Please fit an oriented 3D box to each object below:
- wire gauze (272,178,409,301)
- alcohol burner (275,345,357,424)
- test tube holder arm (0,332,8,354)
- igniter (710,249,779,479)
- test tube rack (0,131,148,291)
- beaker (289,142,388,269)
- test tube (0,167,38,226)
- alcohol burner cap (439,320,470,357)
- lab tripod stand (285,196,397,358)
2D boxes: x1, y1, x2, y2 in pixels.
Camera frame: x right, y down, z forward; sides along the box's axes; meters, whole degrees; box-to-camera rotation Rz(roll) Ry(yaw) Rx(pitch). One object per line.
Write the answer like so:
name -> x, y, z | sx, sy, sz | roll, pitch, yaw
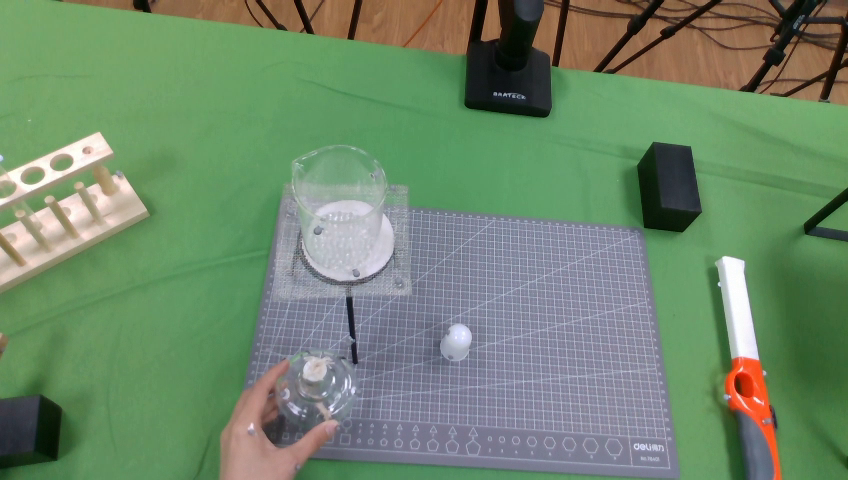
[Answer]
wire gauze -> -0.076, -0.004, 0.561 | 0.121, 0.011, 0.124 | 0, 65, -5
alcohol burner -> -0.102, 0.131, 0.571 | 0.078, 0.120, 0.077 | 4, 60, -6
test tube holder arm -> -0.398, 0.124, 0.542 | 0.010, 0.015, 0.087 | 8, 60, -2
igniter -> 0.354, 0.136, 0.675 | 0.057, 0.025, 0.274 | 12, 61, -12
test tube rack -> -0.428, -0.013, 0.629 | 0.242, 0.086, 0.066 | -33, 70, -22
beaker -> -0.075, -0.026, 0.517 | 0.084, 0.101, 0.073 | 28, 62, 8
test tube -> -0.419, -0.059, 0.599 | 0.017, 0.151, 0.017 | 4, 56, -5
alcohol burner cap -> 0.034, 0.103, 0.644 | 0.034, 0.048, 0.033 | 2, 64, -3
lab tripod stand -> -0.079, 0.031, 0.616 | 0.149, 0.132, 0.147 | 4, 62, -7
